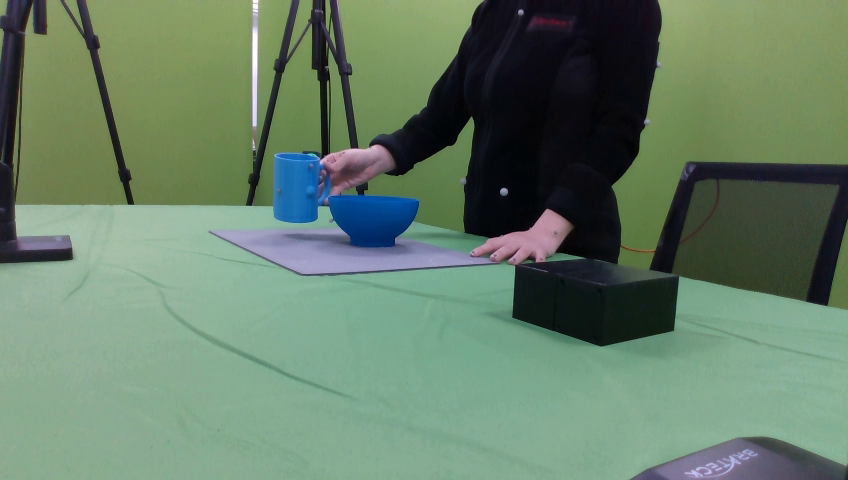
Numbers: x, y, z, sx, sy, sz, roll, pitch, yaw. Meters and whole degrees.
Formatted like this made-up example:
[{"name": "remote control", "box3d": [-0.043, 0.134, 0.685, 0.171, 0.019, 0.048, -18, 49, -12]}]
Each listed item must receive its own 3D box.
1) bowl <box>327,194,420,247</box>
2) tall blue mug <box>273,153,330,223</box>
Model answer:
[{"name": "bowl", "box3d": [-0.083, -0.032, 0.987, 0.151, 0.077, 0.151, 3, 7, 0]}, {"name": "tall blue mug", "box3d": [-0.219, -0.095, 1.060, 0.078, 0.108, 0.107, 7, 16, 9]}]
